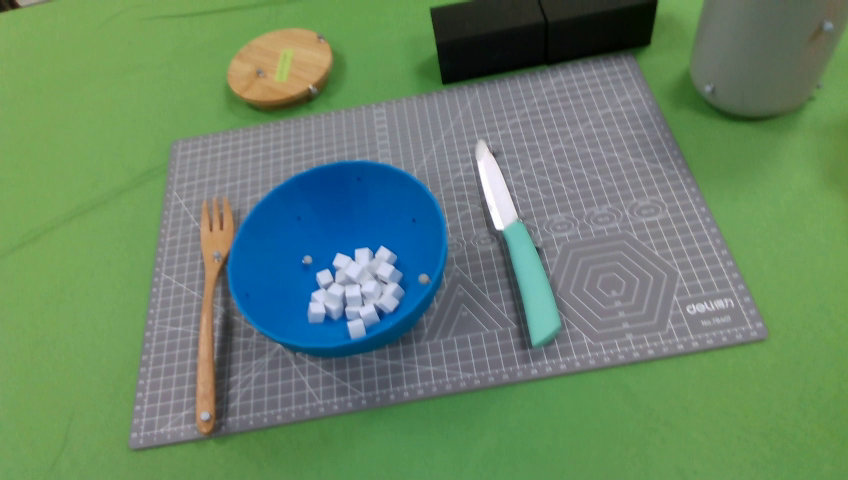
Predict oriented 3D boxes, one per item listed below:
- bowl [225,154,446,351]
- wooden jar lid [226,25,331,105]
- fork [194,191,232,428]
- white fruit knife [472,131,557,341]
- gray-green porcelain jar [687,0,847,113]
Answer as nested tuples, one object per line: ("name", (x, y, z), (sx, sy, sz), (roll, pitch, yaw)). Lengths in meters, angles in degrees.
("bowl", (-0.055, 0.020, 0.435), (0.151, 0.077, 0.150), (-4, 56, 7))
("wooden jar lid", (-0.146, -0.177, 0.618), (0.108, 0.021, 0.107), (-3, 57, 5))
("fork", (-0.167, 0.044, 0.473), (0.028, 0.019, 0.205), (-7, 54, -4))
("white fruit knife", (0.066, -0.015, 0.475), (0.027, 0.016, 0.205), (-5, 55, -11))
("gray-green porcelain jar", (0.274, -0.175, 0.484), (0.106, 0.128, 0.105), (-5, 56, 7))
